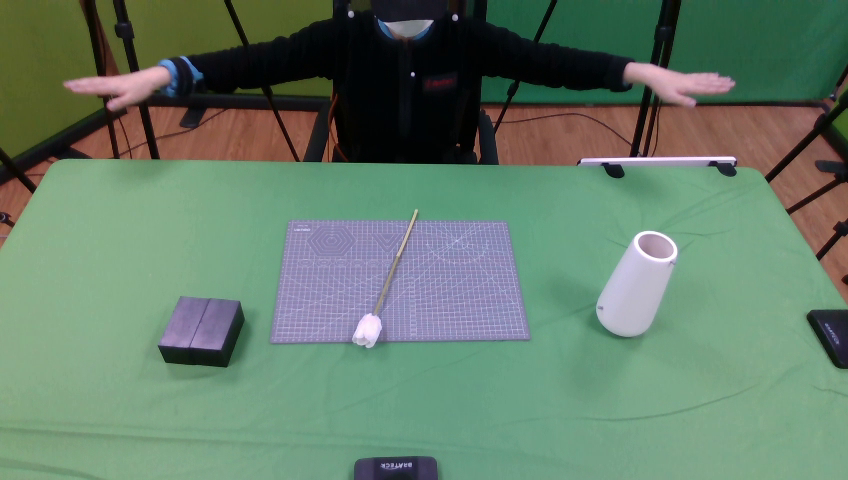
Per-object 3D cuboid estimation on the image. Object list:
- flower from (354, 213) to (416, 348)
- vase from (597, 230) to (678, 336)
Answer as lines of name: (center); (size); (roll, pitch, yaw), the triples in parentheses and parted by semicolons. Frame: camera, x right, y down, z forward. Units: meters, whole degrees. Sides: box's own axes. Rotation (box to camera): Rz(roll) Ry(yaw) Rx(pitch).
flower: (-0.060, 0.058, 1.139); (0.044, 0.038, 0.360); (-20, 31, 30)
vase: (0.360, 0.077, 1.026); (0.098, 0.201, 0.097); (1, 47, -1)
